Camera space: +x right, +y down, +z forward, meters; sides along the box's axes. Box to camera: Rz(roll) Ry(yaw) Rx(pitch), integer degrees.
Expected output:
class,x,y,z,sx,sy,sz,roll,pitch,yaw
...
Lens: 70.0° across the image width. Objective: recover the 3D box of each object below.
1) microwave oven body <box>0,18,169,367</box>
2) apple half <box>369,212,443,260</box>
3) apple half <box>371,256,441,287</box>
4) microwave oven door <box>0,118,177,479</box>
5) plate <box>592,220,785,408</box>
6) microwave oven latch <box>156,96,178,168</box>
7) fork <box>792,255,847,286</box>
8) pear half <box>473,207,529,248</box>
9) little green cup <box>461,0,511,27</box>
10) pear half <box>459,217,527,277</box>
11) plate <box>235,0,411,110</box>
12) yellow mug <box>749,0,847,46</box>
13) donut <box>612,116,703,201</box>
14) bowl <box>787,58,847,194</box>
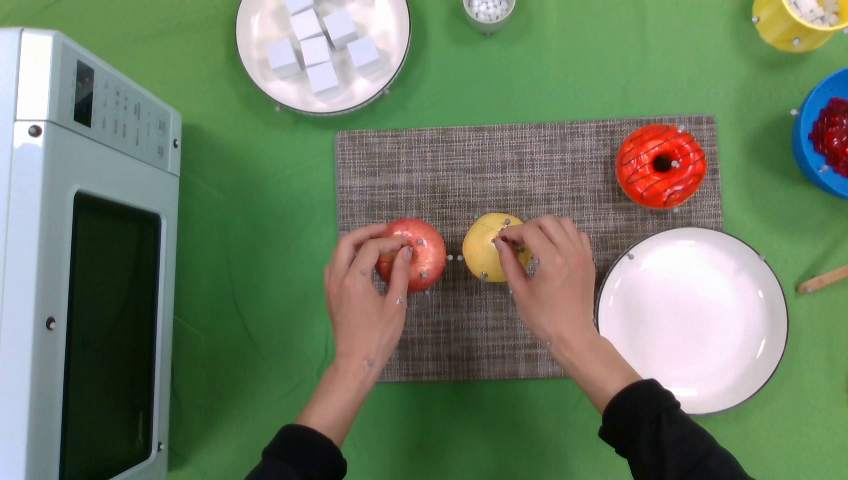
class,x,y,z,sx,sy,sz,roll,pitch,yaw
microwave oven body,-0.460,0.043,0.603,0.326,0.260,0.441,1,87,2
apple half,-0.018,-0.004,0.660,0.080,0.075,0.053,-1,84,14
apple half,-0.018,0.035,0.658,0.081,0.081,0.032,0,83,2
microwave oven door,-0.315,0.086,0.589,0.039,0.244,0.355,0,86,3
plate,0.293,0.082,0.683,0.209,0.038,0.208,0,86,2
microwave oven latch,-0.305,-0.125,0.704,0.030,0.029,0.079,3,87,2
fork,0.507,0.001,0.659,0.207,0.018,0.028,-32,92,20
pear half,0.089,-0.019,0.668,0.070,0.088,0.031,23,83,8
little green cup,0.073,-0.285,0.718,0.061,0.039,0.061,0,86,3
pear half,0.072,0.011,0.655,0.076,0.110,0.056,24,81,7
plate,-0.118,-0.254,0.724,0.207,0.039,0.207,0,86,2
yellow mug,0.428,-0.295,0.691,0.100,0.064,0.130,-34,85,0
donut,0.264,-0.093,0.692,0.099,0.048,0.099,0,87,5
bowl,0.469,-0.118,0.673,0.151,0.077,0.151,0,87,2
